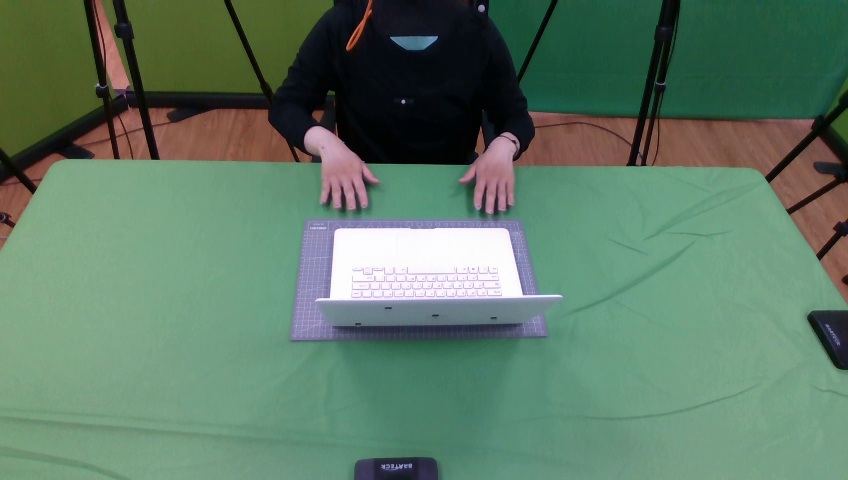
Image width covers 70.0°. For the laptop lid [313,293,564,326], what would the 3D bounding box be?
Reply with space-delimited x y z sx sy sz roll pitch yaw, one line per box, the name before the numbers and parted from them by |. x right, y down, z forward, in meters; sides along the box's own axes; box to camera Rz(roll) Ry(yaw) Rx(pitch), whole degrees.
laptop lid | 0.017 0.112 0.945 0.357 0.242 0.013 0 74 -5

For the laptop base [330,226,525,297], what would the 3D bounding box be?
laptop base | 0.005 0.061 1.137 0.355 0.023 0.234 0 43 -4
